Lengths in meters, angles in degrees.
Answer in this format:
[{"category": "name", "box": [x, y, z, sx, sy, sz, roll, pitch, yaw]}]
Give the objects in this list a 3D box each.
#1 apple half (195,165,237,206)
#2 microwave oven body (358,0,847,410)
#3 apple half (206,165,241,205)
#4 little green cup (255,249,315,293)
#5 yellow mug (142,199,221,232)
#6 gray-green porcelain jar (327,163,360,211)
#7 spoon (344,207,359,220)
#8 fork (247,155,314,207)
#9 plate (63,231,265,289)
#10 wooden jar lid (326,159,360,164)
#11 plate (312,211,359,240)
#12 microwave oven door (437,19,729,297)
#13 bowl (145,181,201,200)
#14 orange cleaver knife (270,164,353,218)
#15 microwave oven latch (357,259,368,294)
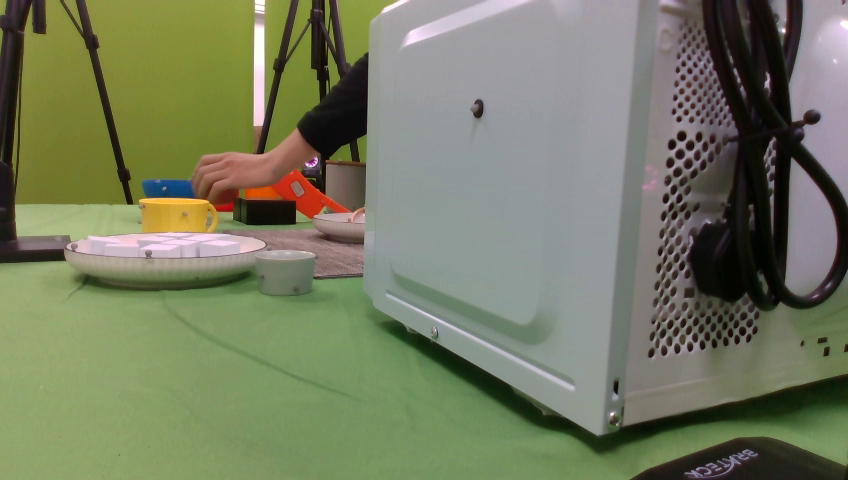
[{"category": "apple half", "box": [-0.388, -0.101, 1.113, 0.053, 0.074, 0.081, 2, 12, 27]}, {"category": "microwave oven body", "box": [0.210, -0.051, 0.471, 0.444, 0.260, 0.324, -1, 7, -28]}, {"category": "apple half", "box": [-0.356, -0.100, 1.096, 0.032, 0.081, 0.081, 8, 9, 24]}, {"category": "little green cup", "box": [-0.144, 0.032, 0.627, 0.061, 0.038, 0.061, 2, 5, 0]}, {"category": "yellow mug", "box": [-0.373, -0.030, 0.948, 0.099, 0.064, 0.131, 6, 7, 30]}, {"category": "gray-green porcelain jar", "box": [-0.187, -0.125, 1.490, 0.106, 0.126, 0.106, 2, 7, 0]}, {"category": "spoon", "box": [-0.126, -0.047, 1.117, 0.041, 0.021, 0.194, -2, 18, 15]}, {"category": "fork", "box": [-0.360, -0.147, 1.521, 0.207, 0.018, 0.028, -43, 7, -7]}, {"category": "plate", "box": [-0.288, 0.021, 0.687, 0.208, 0.039, 0.207, 2, 8, 0]}, {"category": "wooden jar lid", "box": [-0.185, -0.187, 1.481, 0.108, 0.020, 0.108, 4, 6, 0]}, {"category": "plate", "box": [-0.091, -0.026, 1.063, 0.209, 0.038, 0.209, 2, 7, 0]}, {"category": "microwave oven door", "box": [0.180, -0.076, 0.618, 0.358, 0.243, 0.039, -2, 9, -28]}, {"category": "bowl", "box": [-0.499, -0.081, 1.261, 0.151, 0.077, 0.151, 2, 8, 0]}, {"category": "orange cleaver knife", "box": [-0.240, -0.088, 1.329, 0.212, 0.077, 0.012, 36, -9, -33]}, {"category": "microwave oven latch", "box": [-0.019, 0.031, 0.531, 0.079, 0.029, 0.030, -2, 7, -29]}]
